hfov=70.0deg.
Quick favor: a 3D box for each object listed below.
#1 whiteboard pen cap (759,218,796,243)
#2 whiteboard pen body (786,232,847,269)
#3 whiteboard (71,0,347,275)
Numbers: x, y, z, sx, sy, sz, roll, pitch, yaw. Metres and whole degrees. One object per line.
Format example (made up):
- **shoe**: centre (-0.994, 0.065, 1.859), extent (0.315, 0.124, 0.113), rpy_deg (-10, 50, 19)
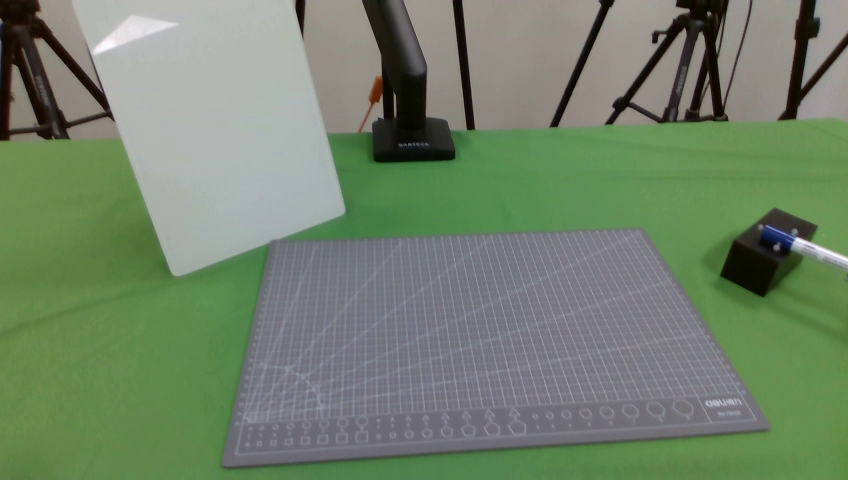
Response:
- **whiteboard pen cap**: centre (0.372, -0.010, 0.635), extent (0.033, 0.018, 0.018), rpy_deg (31, 46, 33)
- **whiteboard pen body**: centre (0.413, 0.016, 0.605), extent (0.139, 0.017, 0.017), rpy_deg (30, 45, 34)
- **whiteboard**: centre (-0.249, -0.153, 0.703), extent (0.217, 0.307, 0.142), rpy_deg (-25, 25, -29)
